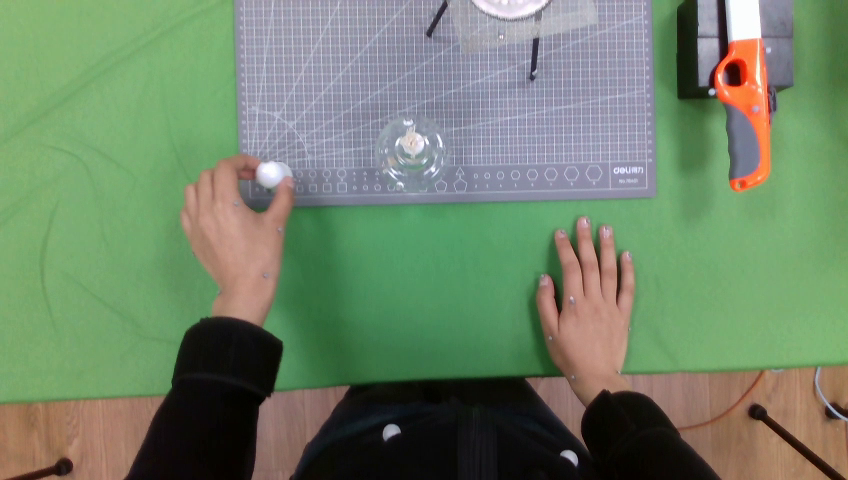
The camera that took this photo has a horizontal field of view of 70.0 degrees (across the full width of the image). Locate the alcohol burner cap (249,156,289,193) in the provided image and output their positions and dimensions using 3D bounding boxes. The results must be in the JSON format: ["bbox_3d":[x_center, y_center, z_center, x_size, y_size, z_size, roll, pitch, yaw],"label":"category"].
[{"bbox_3d":[-0.160,-0.069,0.614,0.034,0.048,0.034,0,82,4],"label":"alcohol burner cap"}]

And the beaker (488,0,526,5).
[{"bbox_3d":[0.070,-0.237,0.477,0.084,0.100,0.074,-3,89,-2],"label":"beaker"}]

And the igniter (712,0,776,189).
[{"bbox_3d":[0.319,-0.190,0.609,0.057,0.025,0.276,-3,90,9],"label":"igniter"}]

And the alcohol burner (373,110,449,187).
[{"bbox_3d":[-0.013,-0.092,0.599,0.078,0.119,0.078,0,91,-2],"label":"alcohol burner"}]

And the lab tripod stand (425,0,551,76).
[{"bbox_3d":[0.074,-0.240,0.591,0.148,0.131,0.148,0,88,-1],"label":"lab tripod stand"}]

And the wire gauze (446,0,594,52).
[{"bbox_3d":[0.075,-0.233,0.525,0.125,0.011,0.121,-15,91,-4],"label":"wire gauze"}]
